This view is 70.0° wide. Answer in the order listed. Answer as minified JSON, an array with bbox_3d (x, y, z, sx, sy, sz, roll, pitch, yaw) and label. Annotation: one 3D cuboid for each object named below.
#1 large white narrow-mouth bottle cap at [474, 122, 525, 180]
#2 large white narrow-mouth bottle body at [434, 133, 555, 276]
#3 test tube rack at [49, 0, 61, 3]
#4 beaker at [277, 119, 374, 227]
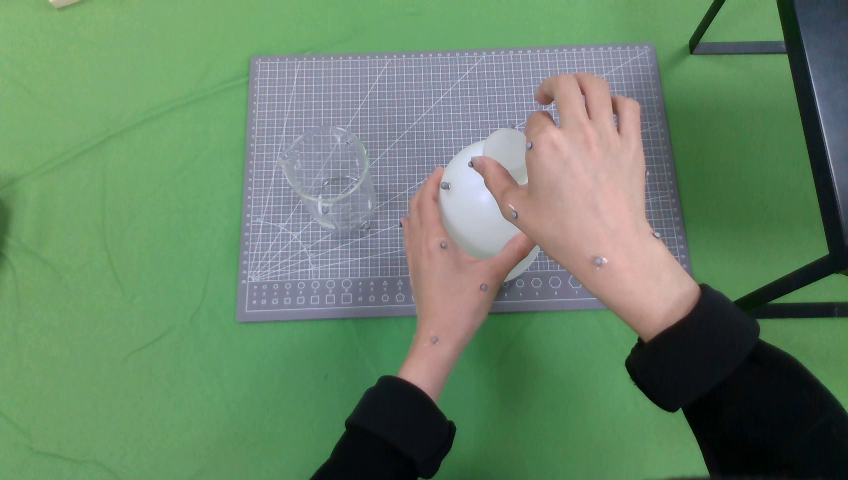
[{"bbox_3d":[0.054,-0.062,0.432,0.038,0.024,0.037,0,74,2],"label":"large white narrow-mouth bottle cap"},{"bbox_3d":[0.059,-0.035,0.523,0.102,0.195,0.101,-1,74,2],"label":"large white narrow-mouth bottle body"},{"bbox_3d":[-0.333,-0.360,0.681,0.242,0.085,0.066,-22,74,-6],"label":"test tube rack"},{"bbox_3d":[-0.089,-0.059,0.580,0.084,0.101,0.073,8,73,4],"label":"beaker"}]
